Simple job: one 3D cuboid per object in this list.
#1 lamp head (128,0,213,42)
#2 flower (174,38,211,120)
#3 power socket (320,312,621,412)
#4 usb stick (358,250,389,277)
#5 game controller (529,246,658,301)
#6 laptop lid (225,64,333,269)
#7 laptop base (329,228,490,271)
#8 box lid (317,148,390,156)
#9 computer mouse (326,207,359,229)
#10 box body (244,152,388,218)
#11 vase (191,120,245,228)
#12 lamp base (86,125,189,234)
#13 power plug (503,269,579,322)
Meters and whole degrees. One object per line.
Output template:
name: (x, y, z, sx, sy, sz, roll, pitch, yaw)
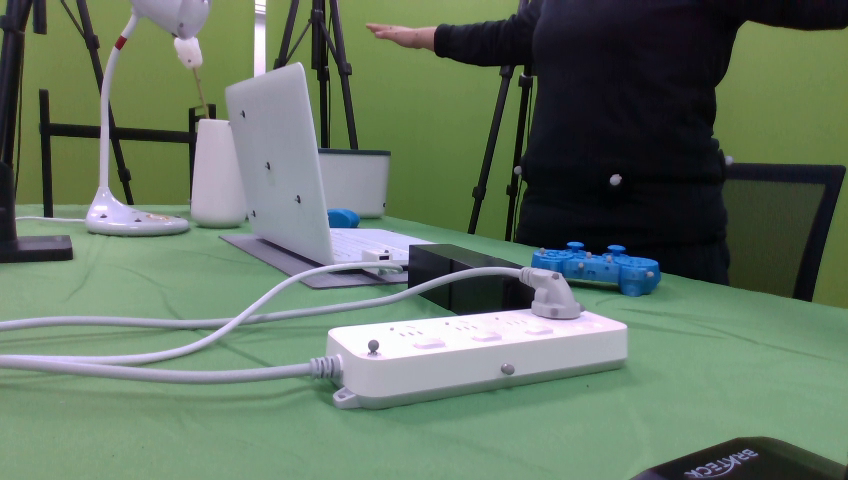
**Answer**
lamp head: (-0.423, -0.394, 0.980, 0.123, 0.112, 0.112, 20, 7, -3)
flower: (-0.401, -0.207, 1.141, 0.038, 0.361, 0.044, -14, 3, 44)
power socket: (0.038, 0.075, 0.409, 0.228, 0.032, 0.072, -2, 8, -29)
usb stick: (-0.062, 0.026, 0.708, 0.021, 0.027, 0.059, -3, 5, -28)
game controller: (0.202, 0.036, 0.733, 0.155, 0.051, 0.097, 5, 10, 19)
laptop lid: (-0.209, -0.101, 0.824, 0.013, 0.241, 0.355, -14, 16, -29)
laptop base: (-0.096, 0.011, 0.912, 0.237, 0.023, 0.352, 2, 7, -32)
box lid: (-0.295, -0.217, 1.463, 0.373, 0.015, 0.262, -1, 8, -29)
computer mouse: (-0.194, -0.046, 1.241, 0.117, 0.041, 0.063, 0, 9, 12)
box body: (-0.297, -0.143, 1.474, 0.366, 0.160, 0.253, -1, 9, -30)
vase: (-0.389, -0.124, 1.143, 0.098, 0.200, 0.098, 3, 9, 0)
lamp base: (-0.497, -0.105, 1.027, 0.179, 0.180, 0.160, 1, 7, 2)
power plug: (0.091, 0.051, 0.469, 0.035, 0.052, 0.072, 0, 6, -18)
